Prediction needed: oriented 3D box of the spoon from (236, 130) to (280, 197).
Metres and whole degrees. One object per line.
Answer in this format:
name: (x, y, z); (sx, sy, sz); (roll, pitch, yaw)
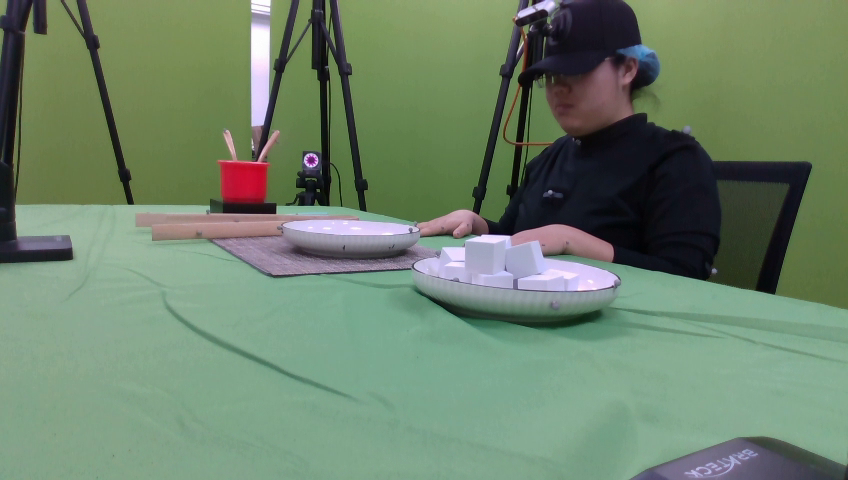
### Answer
spoon: (-0.321, -0.154, 1.192); (0.041, 0.193, 0.022); (0, -37, 19)

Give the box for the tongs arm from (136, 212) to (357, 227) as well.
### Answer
tongs arm: (-0.308, -0.034, 1.100); (0.387, 0.026, 0.050); (-1, 6, -29)

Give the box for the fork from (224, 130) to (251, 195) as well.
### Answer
fork: (-0.372, -0.155, 1.193); (0.028, 0.018, 0.206); (-17, 54, -13)

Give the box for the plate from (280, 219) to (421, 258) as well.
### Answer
plate: (-0.108, -0.002, 0.902); (0.208, 0.039, 0.207); (3, 7, 0)

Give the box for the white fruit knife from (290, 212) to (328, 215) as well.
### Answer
white fruit knife: (-0.304, -0.050, 1.328); (0.208, 0.016, 0.027); (-3, -19, -29)

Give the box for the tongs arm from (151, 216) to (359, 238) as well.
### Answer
tongs arm: (-0.263, -0.024, 1.032); (0.390, 0.028, 0.028); (-3, 4, -42)

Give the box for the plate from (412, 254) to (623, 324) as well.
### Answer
plate: (0.091, 0.047, 0.609); (0.209, 0.038, 0.209); (2, 7, 0)
